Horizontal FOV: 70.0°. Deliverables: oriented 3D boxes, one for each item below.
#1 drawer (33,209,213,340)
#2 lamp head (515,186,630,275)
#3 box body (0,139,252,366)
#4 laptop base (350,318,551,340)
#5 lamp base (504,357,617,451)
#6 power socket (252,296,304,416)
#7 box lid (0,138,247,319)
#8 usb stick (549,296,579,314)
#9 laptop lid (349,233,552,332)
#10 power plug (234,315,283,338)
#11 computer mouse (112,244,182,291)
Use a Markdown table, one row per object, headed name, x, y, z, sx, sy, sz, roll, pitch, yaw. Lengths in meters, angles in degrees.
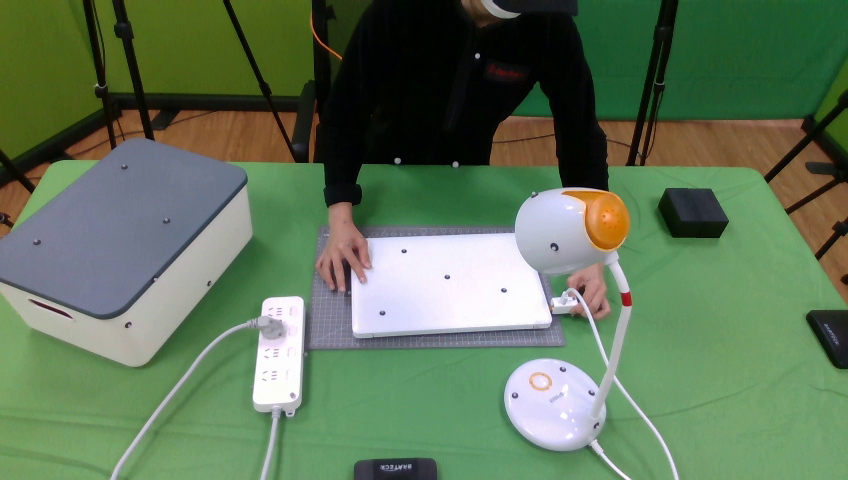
| name | x | y | z | sx | sy | sz | roll | pitch | yaw |
| --- | --- | --- | --- | --- | --- | --- | --- | --- | --- |
| drawer | -0.509 | 0.054 | 1.046 | 0.194 | 0.073 | 0.211 | 15 | 43 | 11 |
| lamp head | 0.188 | -0.013 | 0.728 | 0.112 | 0.112 | 0.122 | -24 | 9 | -25 |
| box body | -0.496 | 0.013 | 1.049 | 0.254 | 0.161 | 0.362 | 17 | 47 | 12 |
| laptop base | 0.040 | 0.080 | 1.126 | 0.355 | 0.023 | 0.234 | -2 | 43 | -6 |
| lamp base | 0.220 | 0.211 | 0.903 | 0.160 | 0.181 | 0.178 | -33 | 59 | -30 |
| power socket | -0.237 | 0.181 | 0.998 | 0.072 | 0.033 | 0.225 | -3 | 47 | -5 |
| box lid | -0.493 | -0.038 | 0.994 | 0.263 | 0.015 | 0.370 | 17 | 46 | 12 |
| usb stick | 0.245 | 0.117 | 1.088 | 0.059 | 0.027 | 0.021 | -7 | 51 | -3 |
| laptop lid | 0.041 | 0.070 | 1.120 | 0.357 | 0.013 | 0.240 | -1 | 43 | -5 |
| power plug | -0.269 | 0.143 | 1.000 | 0.072 | 0.053 | 0.035 | 4 | 47 | 2 |
| computer mouse | -0.493 | 0.046 | 1.078 | 0.117 | 0.041 | 0.062 | 24 | 41 | 13 |
